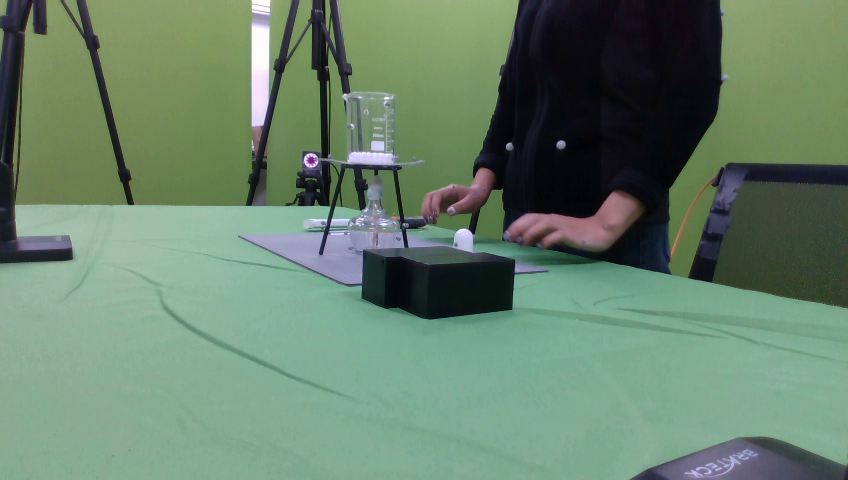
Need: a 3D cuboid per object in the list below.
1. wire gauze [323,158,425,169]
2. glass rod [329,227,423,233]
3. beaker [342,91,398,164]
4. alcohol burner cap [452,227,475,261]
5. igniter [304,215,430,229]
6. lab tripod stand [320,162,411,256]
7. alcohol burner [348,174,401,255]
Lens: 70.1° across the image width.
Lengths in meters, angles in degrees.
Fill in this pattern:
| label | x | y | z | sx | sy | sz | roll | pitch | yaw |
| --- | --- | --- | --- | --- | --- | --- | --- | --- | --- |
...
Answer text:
| label | x | y | z | sx | sy | sz | roll | pitch | yaw |
| --- | --- | --- | --- | --- | --- | --- | --- | --- | --- |
| wire gauze | -0.080 | -0.112 | 0.869 | 0.122 | 0.011 | 0.124 | -6 | 12 | -35 |
| glass rod | -0.087 | -0.019 | 1.148 | 0.201 | 0.008 | 0.008 | -2 | 8 | -32 |
| beaker | -0.079 | -0.160 | 0.867 | 0.084 | 0.100 | 0.073 | -5 | 10 | -34 |
| alcohol burner cap | 0.057 | 0.005 | 0.872 | 0.034 | 0.048 | 0.034 | 3 | 7 | 0 |
| igniter | -0.109 | -0.037 | 1.228 | 0.278 | 0.025 | 0.057 | -3 | -1 | -35 |
| lab tripod stand | -0.080 | -0.047 | 0.879 | 0.148 | 0.131 | 0.148 | 2 | 9 | 0 |
| alcohol burner | -0.073 | -0.037 | 0.885 | 0.078 | 0.119 | 0.078 | 2 | 9 | 0 |
